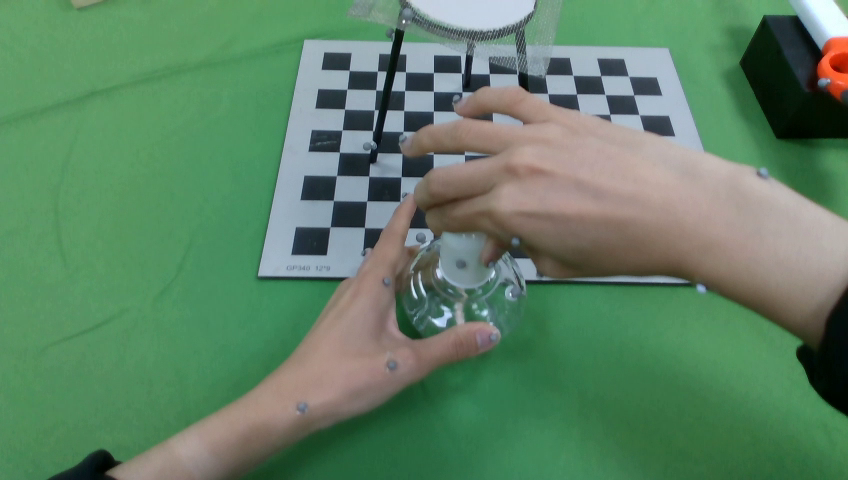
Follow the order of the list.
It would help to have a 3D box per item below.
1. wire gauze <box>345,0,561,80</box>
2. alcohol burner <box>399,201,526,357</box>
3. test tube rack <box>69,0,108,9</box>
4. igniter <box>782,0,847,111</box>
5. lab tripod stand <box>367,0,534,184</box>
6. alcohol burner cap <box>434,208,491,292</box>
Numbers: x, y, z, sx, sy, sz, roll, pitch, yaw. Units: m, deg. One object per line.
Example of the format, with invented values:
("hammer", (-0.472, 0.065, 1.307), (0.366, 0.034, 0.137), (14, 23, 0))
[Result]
("wire gauze", (0.027, -0.156, 0.383), (0.125, 0.011, 0.120), (16, 55, 8))
("alcohol burner", (0.023, 0.020, 0.356), (0.078, 0.120, 0.077), (0, 54, 0))
("test tube rack", (-0.255, -0.323, 0.610), (0.242, 0.086, 0.066), (-28, 60, -20))
("igniter", (0.333, -0.146, 0.482), (0.057, 0.025, 0.274), (-1, 53, 2))
("lab tripod stand", (0.029, -0.119, 0.440), (0.148, 0.132, 0.147), (2, 54, -2))
("alcohol burner cap", (0.021, 0.003, 0.331), (0.034, 0.048, 0.033), (0, 55, 1))
